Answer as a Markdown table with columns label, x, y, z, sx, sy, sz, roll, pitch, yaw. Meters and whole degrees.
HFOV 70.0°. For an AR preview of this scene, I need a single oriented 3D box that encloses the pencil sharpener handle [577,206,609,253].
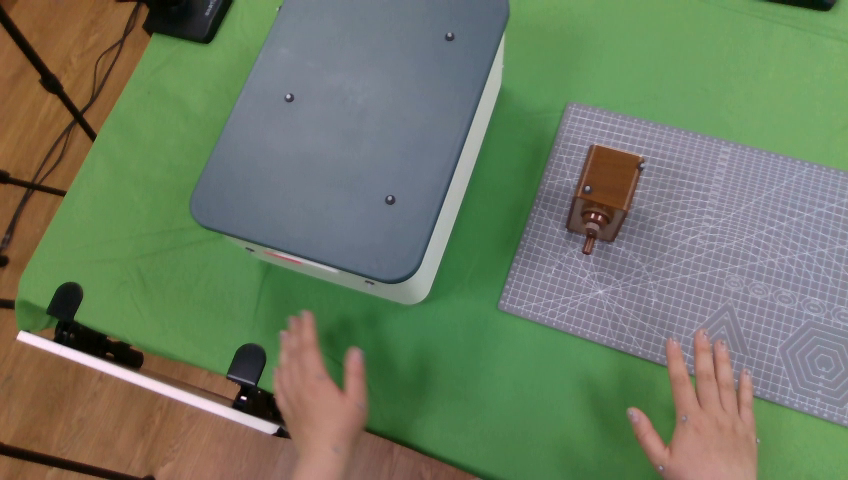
| label | x | y | z | sx | sy | sz | roll | pitch | yaw |
| --- | --- | --- | --- | --- | --- | --- | --- | --- | --- |
| pencil sharpener handle | 0.185 | -0.010 | 0.678 | 0.036 | 0.068 | 0.030 | 16 | 74 | 20 |

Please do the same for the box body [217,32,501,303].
| label | x | y | z | sx | sy | sz | roll | pitch | yaw |
| --- | --- | --- | --- | --- | --- | --- | --- | --- | --- |
| box body | -0.071 | -0.127 | 0.734 | 0.253 | 0.161 | 0.362 | 16 | 74 | 11 |

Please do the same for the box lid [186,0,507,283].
| label | x | y | z | sx | sy | sz | roll | pitch | yaw |
| --- | --- | --- | --- | --- | --- | --- | --- | --- | --- |
| box lid | -0.078 | -0.153 | 0.665 | 0.262 | 0.015 | 0.370 | 16 | 74 | 11 |

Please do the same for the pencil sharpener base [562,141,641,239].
| label | x | y | z | sx | sy | sz | roll | pitch | yaw |
| --- | --- | --- | --- | --- | --- | --- | --- | --- | --- |
| pencil sharpener base | 0.202 | -0.053 | 0.703 | 0.061 | 0.108 | 0.076 | 18 | 75 | 12 |
